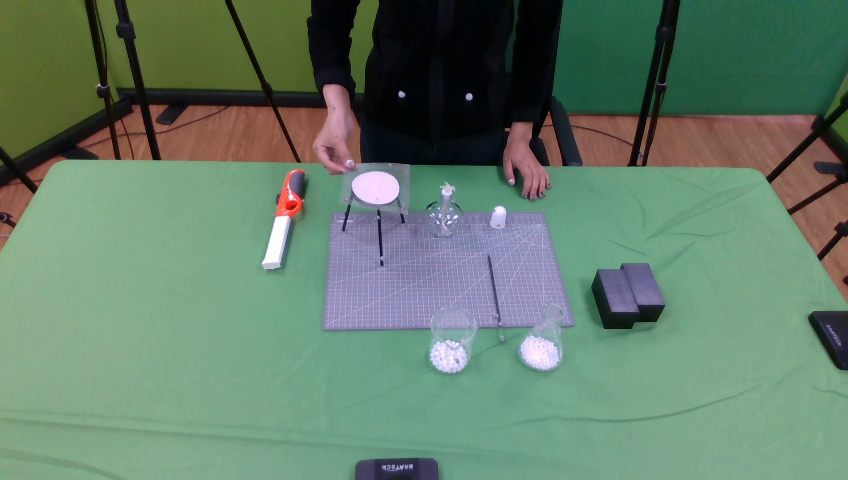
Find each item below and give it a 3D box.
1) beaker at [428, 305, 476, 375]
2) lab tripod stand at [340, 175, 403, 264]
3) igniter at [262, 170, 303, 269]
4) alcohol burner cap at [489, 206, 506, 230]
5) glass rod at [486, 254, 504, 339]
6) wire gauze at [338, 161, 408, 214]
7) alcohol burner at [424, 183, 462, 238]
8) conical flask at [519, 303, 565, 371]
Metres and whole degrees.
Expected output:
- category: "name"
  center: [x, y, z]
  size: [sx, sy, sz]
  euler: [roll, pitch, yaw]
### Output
- category: "beaker"
  center: [0.044, 0.169, 0.987]
  size: [0.074, 0.101, 0.083]
  euler: [1, 47, -3]
- category: "lab tripod stand"
  center: [-0.093, -0.050, 1.160]
  size: [0.148, 0.132, 0.147]
  euler: [2, 44, -2]
- category: "igniter"
  center: [-0.283, -0.050, 1.222]
  size: [0.057, 0.025, 0.275]
  euler: [-4, 45, 6]
- category: "alcohol burner cap"
  center: [0.152, -0.047, 1.241]
  size: [0.034, 0.048, 0.033]
  euler: [2, 45, -2]
- category: "glass rod"
  center: [0.129, 0.099, 1.119]
  size: [0.008, 0.008, 0.198]
  euler: [-1, 46, -4]
- category: "wire gauze"
  center: [-0.091, -0.100, 1.101]
  size: [0.125, 0.011, 0.120]
  euler: [6, 48, -5]
- category: "alcohol burner"
  center: [0.039, -0.063, 1.197]
  size: [0.078, 0.119, 0.077]
  euler: [3, 44, -2]
- category: "conical flask"
  center: [0.201, 0.155, 0.997]
  size: [0.075, 0.122, 0.075]
  euler: [2, 46, -2]
